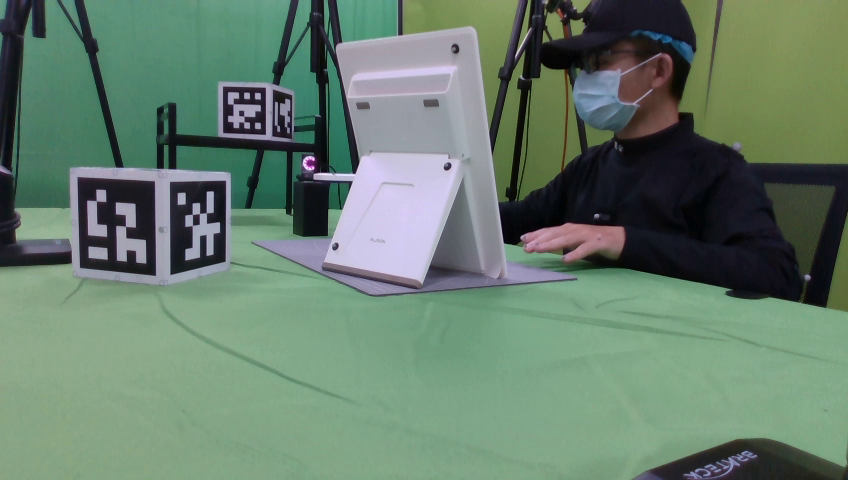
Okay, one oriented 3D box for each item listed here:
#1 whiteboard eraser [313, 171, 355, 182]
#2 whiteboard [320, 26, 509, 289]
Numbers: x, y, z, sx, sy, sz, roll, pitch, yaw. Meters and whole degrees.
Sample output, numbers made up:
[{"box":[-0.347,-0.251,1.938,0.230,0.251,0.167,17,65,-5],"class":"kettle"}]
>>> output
[{"box":[-0.166,-0.122,1.165,0.102,0.019,0.041,-2,7,-34],"class":"whiteboard eraser"},{"box":[-0.045,-0.076,0.721,0.216,0.305,0.144,9,29,39],"class":"whiteboard"}]
